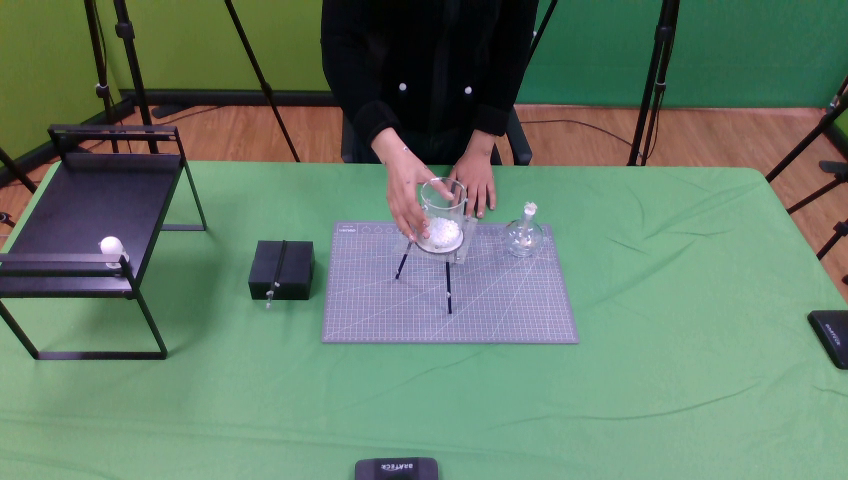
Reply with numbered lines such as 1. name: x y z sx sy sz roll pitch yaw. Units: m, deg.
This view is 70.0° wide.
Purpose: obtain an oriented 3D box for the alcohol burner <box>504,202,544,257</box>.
1. alcohol burner: 0.195 -0.025 1.170 0.078 0.120 0.077 2 44 -2

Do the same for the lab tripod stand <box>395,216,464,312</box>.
1. lab tripod stand: 0.023 0.036 1.084 0.148 0.132 0.147 4 46 -4

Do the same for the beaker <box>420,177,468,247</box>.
1. beaker: 0.028 -0.045 1.002 0.074 0.101 0.083 -21 52 -21

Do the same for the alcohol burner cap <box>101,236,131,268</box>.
1. alcohol burner cap: -0.452 0.016 0.883 0.034 0.048 0.033 2 47 -2

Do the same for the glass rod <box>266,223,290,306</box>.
1. glass rod: -0.260 0.039 1.083 0.008 0.008 0.198 3 46 -1

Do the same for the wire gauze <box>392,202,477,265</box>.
1. wire gauze: 0.021 -0.011 1.038 0.121 0.011 0.124 13 48 8
